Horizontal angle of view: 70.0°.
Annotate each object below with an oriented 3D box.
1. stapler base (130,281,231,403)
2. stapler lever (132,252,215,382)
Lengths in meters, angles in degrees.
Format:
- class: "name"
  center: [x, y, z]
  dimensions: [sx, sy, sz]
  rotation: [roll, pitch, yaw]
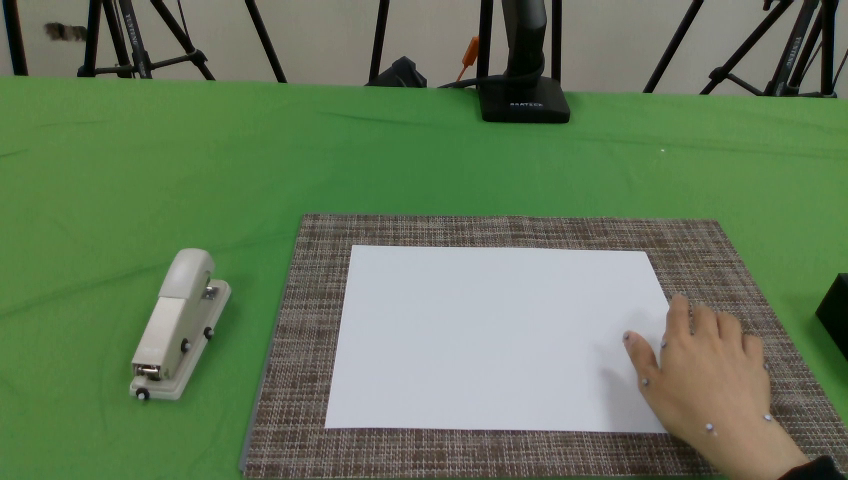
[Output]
- class: "stapler base"
  center: [-0.203, 0.076, 0.510]
  dimensions: [0.041, 0.024, 0.129]
  rotation: [3, 41, 4]
- class: "stapler lever"
  center: [-0.201, 0.058, 0.492]
  dimensions: [0.027, 0.040, 0.117]
  rotation: [3, 41, 4]
